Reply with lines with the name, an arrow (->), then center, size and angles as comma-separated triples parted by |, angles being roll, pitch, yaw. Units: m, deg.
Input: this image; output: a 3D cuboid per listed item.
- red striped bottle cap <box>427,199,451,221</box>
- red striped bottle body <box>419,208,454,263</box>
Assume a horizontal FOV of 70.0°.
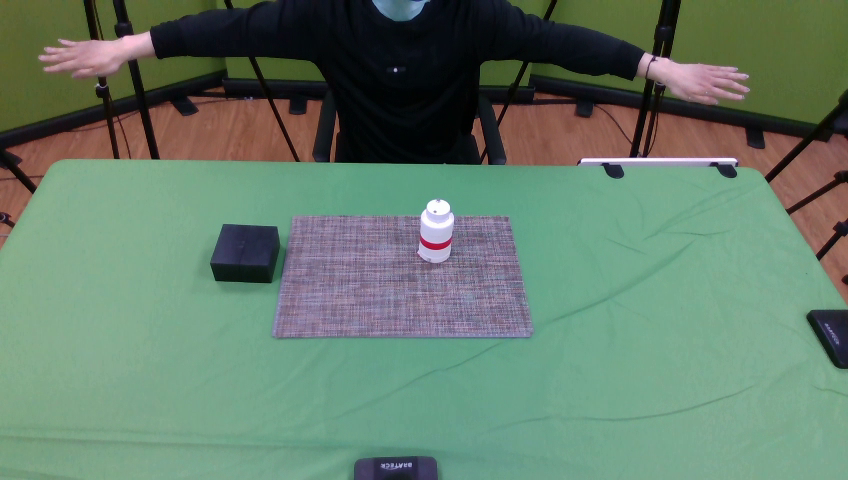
red striped bottle cap -> 0.027, -0.056, 1.103 | 0.044, 0.018, 0.044 | 0, 46, 0
red striped bottle body -> 0.024, -0.018, 1.141 | 0.063, 0.120, 0.062 | 2, 45, -1
